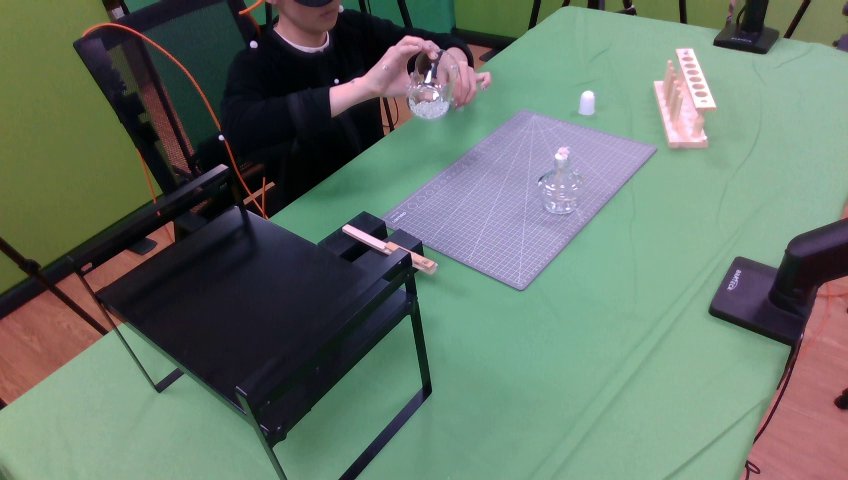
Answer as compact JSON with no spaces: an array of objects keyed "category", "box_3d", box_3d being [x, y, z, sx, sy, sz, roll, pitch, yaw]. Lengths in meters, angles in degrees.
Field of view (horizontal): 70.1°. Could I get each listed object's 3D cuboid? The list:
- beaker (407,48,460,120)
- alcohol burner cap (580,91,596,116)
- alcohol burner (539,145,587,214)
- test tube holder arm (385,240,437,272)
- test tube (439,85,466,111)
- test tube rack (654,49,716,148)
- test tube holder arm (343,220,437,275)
[{"category":"beaker","box_3d":[0.015,-0.248,0.981,0.073,0.084,0.100,-3,48,18]},{"category":"alcohol burner cap","box_3d":[0.338,-0.283,1.239,0.034,0.048,0.033,-5,42,5]},{"category":"alcohol burner","box_3d":[0.226,-0.102,0.986,0.078,0.119,0.077,-6,41,6]},{"category":"test tube holder arm","box_3d":[-0.020,0.022,0.872,0.087,0.010,0.015,26,58,31]},{"category":"test tube","box_3d":[0.055,-0.258,1.108,0.017,0.017,0.151,7,2,17]},{"category":"test tube rack","box_3d":[0.502,-0.281,1.176,0.066,0.085,0.241,2,41,11]},{"category":"test tube holder arm","box_3d":[-0.054,0.009,0.899,0.177,0.013,0.015,26,58,30]}]
